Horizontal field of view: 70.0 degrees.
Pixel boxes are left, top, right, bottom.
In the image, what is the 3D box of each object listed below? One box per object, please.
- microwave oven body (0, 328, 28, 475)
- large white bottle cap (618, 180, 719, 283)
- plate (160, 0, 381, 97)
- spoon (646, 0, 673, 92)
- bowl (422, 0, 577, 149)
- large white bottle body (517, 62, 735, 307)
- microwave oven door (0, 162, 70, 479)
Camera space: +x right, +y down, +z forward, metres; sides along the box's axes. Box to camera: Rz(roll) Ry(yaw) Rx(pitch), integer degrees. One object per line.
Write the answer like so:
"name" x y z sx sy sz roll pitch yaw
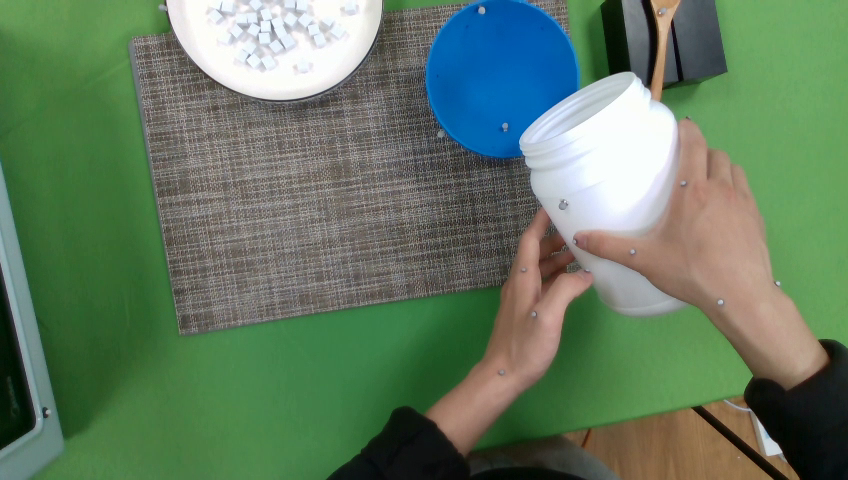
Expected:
"microwave oven body" -0.535 0.022 0.450 0.326 0.259 0.442 -11 95 -7
"large white bottle cap" 0.274 -0.009 0.678 0.115 0.018 0.115 0 94 -8
"plate" -0.147 -0.242 0.597 0.209 0.038 0.209 0 90 -7
"spoon" 0.235 -0.199 0.615 0.042 0.021 0.194 3 98 -10
"bowl" 0.068 -0.163 0.609 0.152 0.076 0.151 0 93 -7
"large white bottle body" 0.174 -0.048 0.535 0.130 0.129 0.186 -37 108 -4
"microwave oven door" -0.383 0.036 0.465 0.039 0.243 0.356 -12 94 -6
